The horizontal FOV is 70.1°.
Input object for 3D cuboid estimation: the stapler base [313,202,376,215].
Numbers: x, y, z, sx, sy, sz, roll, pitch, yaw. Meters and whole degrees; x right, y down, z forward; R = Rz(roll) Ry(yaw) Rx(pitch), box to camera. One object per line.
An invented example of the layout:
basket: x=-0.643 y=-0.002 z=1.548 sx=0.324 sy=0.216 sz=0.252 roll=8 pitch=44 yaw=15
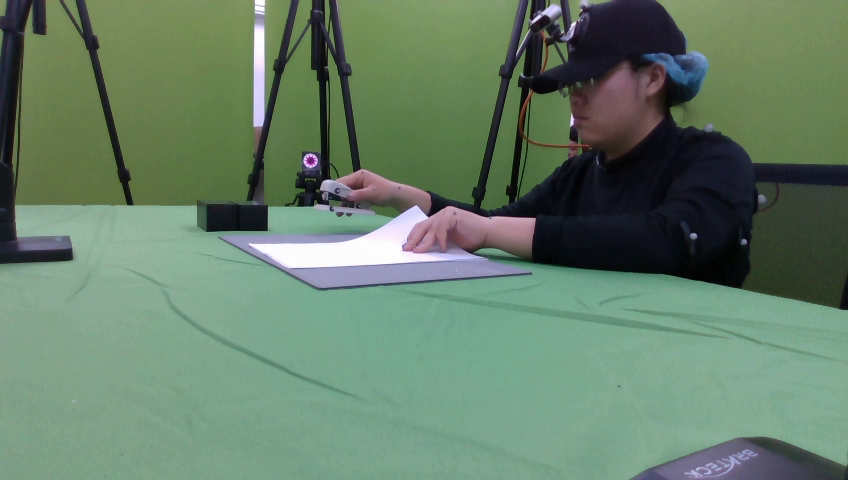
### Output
stapler base: x=-0.151 y=-0.064 z=1.160 sx=0.041 sy=0.024 sz=0.131 roll=9 pitch=3 yaw=43

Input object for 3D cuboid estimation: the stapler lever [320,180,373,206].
stapler lever: x=-0.148 y=-0.089 z=1.161 sx=0.026 sy=0.040 sz=0.119 roll=10 pitch=2 yaw=43
